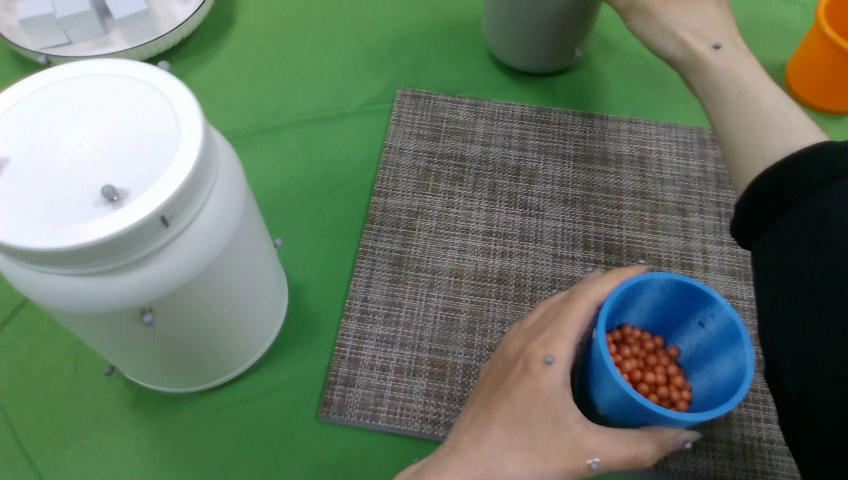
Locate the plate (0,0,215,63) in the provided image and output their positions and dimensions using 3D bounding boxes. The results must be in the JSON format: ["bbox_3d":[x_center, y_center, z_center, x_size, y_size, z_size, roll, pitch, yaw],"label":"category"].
[{"bbox_3d":[-0.298,-0.236,0.577,0.208,0.039,0.206,1,60,-1],"label":"plate"}]

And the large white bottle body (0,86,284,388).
[{"bbox_3d":[-0.163,0.001,0.361,0.131,0.186,0.129,1,60,-1],"label":"large white bottle body"}]

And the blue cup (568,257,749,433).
[{"bbox_3d":[0.131,0.077,0.372,0.093,0.101,0.092,2,61,-3],"label":"blue cup"}]

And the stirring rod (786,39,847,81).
[{"bbox_3d":[0.403,-0.185,0.515,0.176,0.006,0.014,-27,57,32],"label":"stirring rod"}]

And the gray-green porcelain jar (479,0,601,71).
[{"bbox_3d":[0.104,-0.224,0.534,0.106,0.127,0.105,1,60,-1],"label":"gray-green porcelain jar"}]

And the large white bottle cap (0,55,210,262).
[{"bbox_3d":[-0.162,-0.043,0.288,0.115,0.018,0.114,1,60,-1],"label":"large white bottle cap"}]
